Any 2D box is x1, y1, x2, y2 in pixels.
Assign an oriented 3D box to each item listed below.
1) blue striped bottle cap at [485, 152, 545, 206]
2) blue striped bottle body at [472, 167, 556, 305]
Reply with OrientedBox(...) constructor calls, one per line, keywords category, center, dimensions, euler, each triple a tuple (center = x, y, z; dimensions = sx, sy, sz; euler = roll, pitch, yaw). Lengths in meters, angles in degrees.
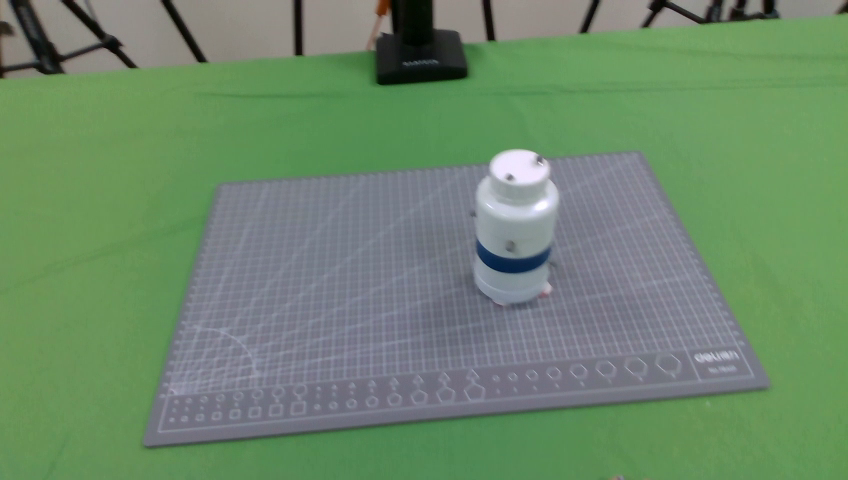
OrientedBox(category="blue striped bottle cap", center=(0.067, -0.046, 0.446), dimensions=(0.044, 0.021, 0.044), euler=(-1, 44, 1))
OrientedBox(category="blue striped bottle body", center=(0.070, -0.009, 0.481), dimensions=(0.063, 0.122, 0.062), euler=(-2, 44, 2))
